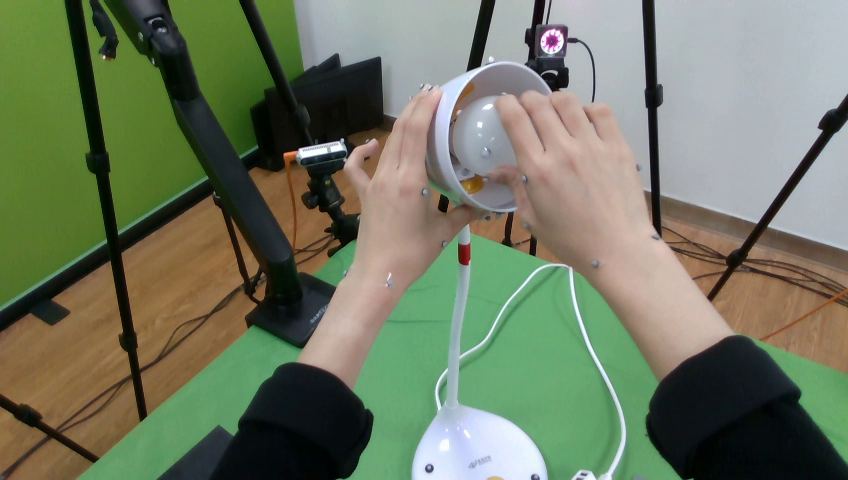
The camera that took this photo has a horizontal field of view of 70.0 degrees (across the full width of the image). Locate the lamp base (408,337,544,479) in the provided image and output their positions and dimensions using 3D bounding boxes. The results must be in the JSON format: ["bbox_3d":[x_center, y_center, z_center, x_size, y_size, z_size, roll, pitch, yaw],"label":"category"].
[{"bbox_3d":[0.051,0.207,0.677,0.161,0.182,0.177,-25,42,-26],"label":"lamp base"}]

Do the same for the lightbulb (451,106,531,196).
[{"bbox_3d":[0.047,-0.062,0.478,0.060,0.108,0.059,3,68,-8],"label":"lightbulb"}]

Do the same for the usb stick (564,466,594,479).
[{"bbox_3d":[0.183,0.286,0.681,0.027,0.059,0.021,-29,4,-35],"label":"usb stick"}]

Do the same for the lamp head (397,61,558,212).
[{"bbox_3d":[0.033,-0.079,0.501,0.112,0.113,0.122,-26,14,-27],"label":"lamp head"}]
